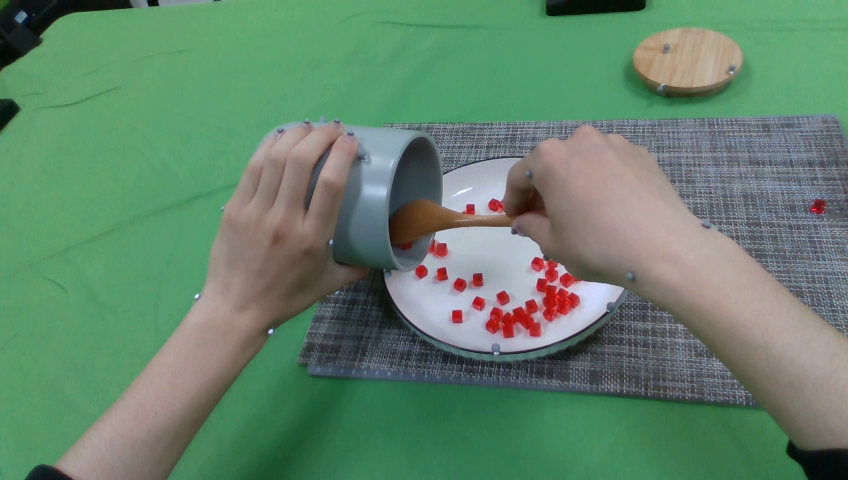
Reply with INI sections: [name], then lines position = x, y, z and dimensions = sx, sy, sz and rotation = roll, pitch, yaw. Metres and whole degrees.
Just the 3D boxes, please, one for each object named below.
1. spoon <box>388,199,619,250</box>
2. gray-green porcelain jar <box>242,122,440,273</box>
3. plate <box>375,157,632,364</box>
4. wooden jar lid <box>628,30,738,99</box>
[spoon]
position = 0.046, -0.015, 0.434
dimensions = 0.192, 0.022, 0.041
rotation = -2, 68, 35
[gray-green porcelain jar]
position = -0.065, -0.035, 0.466
dimensions = 0.126, 0.107, 0.105
rotation = 9, 53, 20
[plate]
position = 0.064, 0.015, 0.507
dimensions = 0.207, 0.039, 0.205
rotation = -6, 50, 8
[wooden jar lid]
position = 0.274, -0.186, 0.646
dimensions = 0.108, 0.021, 0.107
rotation = -6, 51, 8
